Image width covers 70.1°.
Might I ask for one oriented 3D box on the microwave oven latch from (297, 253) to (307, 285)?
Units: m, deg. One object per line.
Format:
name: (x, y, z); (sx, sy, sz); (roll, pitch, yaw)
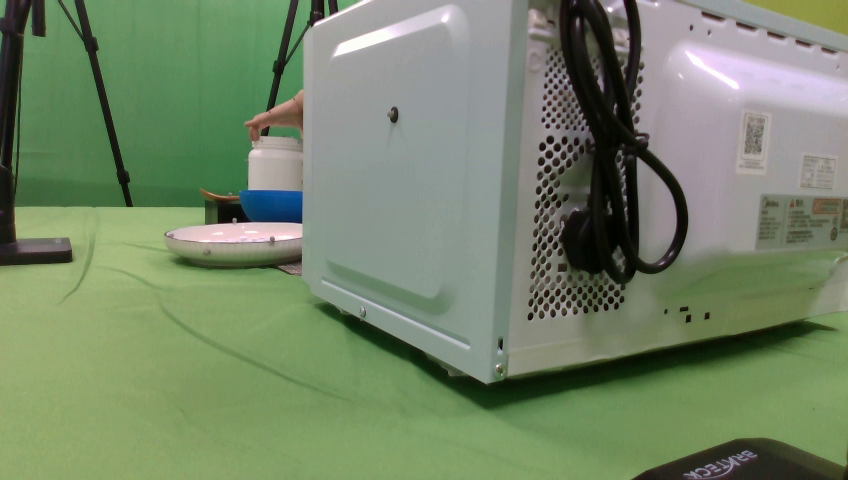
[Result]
microwave oven latch: (-0.082, 0.027, 0.582); (0.079, 0.029, 0.030); (-1, 7, -32)

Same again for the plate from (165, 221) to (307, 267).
plate: (-0.241, 0.004, 0.829); (0.209, 0.038, 0.209); (0, 9, 0)

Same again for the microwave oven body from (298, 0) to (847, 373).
microwave oven body: (0.151, -0.055, 0.542); (0.444, 0.260, 0.324); (-1, 7, -33)

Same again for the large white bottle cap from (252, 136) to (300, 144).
large white bottle cap: (-0.337, -0.228, 1.391); (0.115, 0.018, 0.115); (1, 8, 0)

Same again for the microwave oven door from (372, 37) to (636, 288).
microwave oven door: (0.109, -0.080, 0.686); (0.358, 0.243, 0.039); (-2, 9, -33)

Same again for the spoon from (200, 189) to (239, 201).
spoon: (-0.339, -0.080, 1.190); (0.194, 0.021, 0.041); (5, 1, -19)

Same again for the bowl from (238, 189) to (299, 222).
bowl: (-0.245, -0.045, 1.052); (0.151, 0.077, 0.151); (3, 8, 0)

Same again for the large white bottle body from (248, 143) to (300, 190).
large white bottle body: (-0.340, -0.144, 1.402); (0.131, 0.184, 0.130); (2, 7, 0)
